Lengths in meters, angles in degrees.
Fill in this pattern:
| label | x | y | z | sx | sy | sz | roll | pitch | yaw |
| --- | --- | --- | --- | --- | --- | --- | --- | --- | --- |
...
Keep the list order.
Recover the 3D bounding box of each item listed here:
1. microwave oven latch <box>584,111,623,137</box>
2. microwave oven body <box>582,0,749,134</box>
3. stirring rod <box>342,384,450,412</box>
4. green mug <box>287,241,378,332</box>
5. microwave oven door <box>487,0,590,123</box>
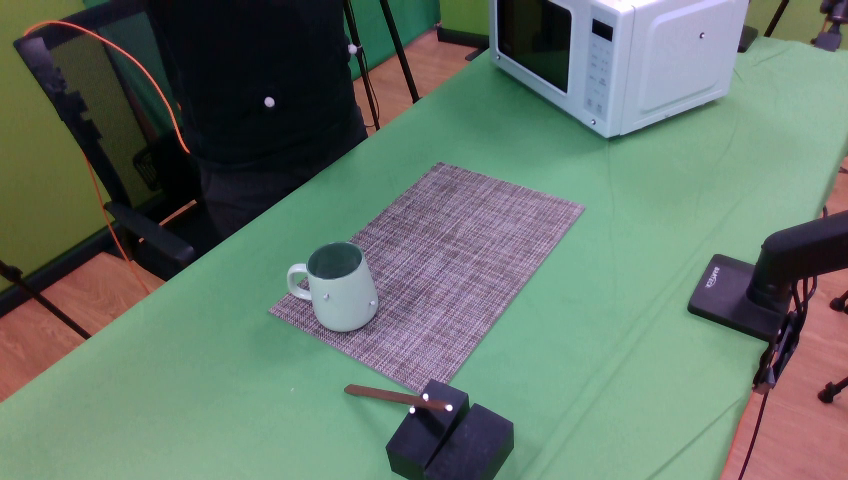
| label | x | y | z | sx | sy | sz | roll | pitch | yaw |
| --- | --- | --- | --- | --- | --- | --- | --- | --- | --- |
| microwave oven latch | 0.337 | -0.222 | 1.142 | 0.030 | 0.029 | 0.078 | -21 | 42 | -14 |
| microwave oven body | 0.382 | -0.444 | 1.246 | 0.327 | 0.261 | 0.437 | -22 | 42 | -16 |
| stirring rod | -0.038 | 0.186 | 0.714 | 0.175 | 0.006 | 0.014 | -3 | 22 | 43 |
| green mug | -0.131 | 0.065 | 0.843 | 0.125 | 0.105 | 0.092 | 3 | 42 | 12 |
| microwave oven door | 0.232 | -0.420 | 1.231 | 0.039 | 0.245 | 0.352 | -22 | 43 | -16 |
